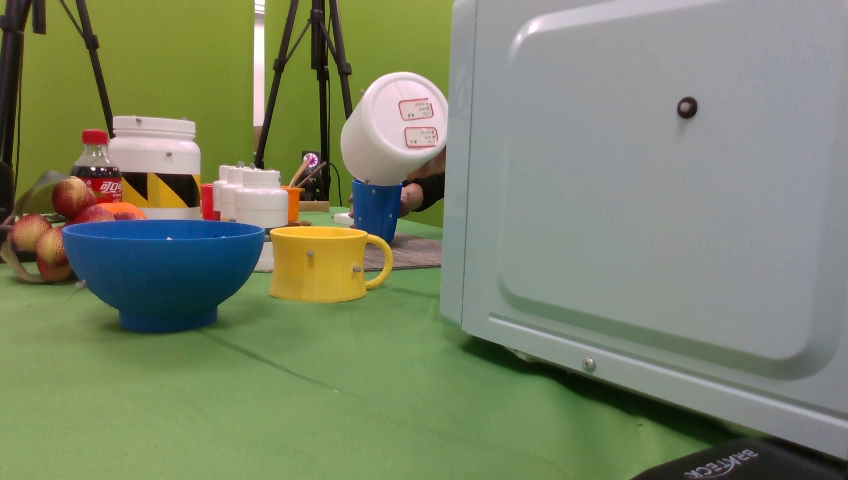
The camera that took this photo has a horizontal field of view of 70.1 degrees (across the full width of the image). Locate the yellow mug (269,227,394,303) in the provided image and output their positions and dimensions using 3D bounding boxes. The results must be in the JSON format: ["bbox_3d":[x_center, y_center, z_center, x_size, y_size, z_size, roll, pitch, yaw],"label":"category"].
[{"bbox_3d":[-0.094,0.023,0.629,0.131,0.064,0.099,0,6,-21],"label":"yellow mug"}]

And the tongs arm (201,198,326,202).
[{"bbox_3d":[-0.433,-0.090,1.508,0.390,0.028,0.028,-1,2,-29],"label":"tongs arm"}]

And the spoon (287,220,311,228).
[{"bbox_3d":[-0.232,-0.027,1.116,0.041,0.021,0.193,-22,6,4],"label":"spoon"}]

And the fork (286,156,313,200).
[{"bbox_3d":[-0.288,-0.117,1.319,0.028,0.019,0.207,-8,45,32],"label":"fork"}]

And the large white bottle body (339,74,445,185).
[{"bbox_3d":[-0.052,-0.155,0.901,0.131,0.130,0.184,0,-6,-21],"label":"large white bottle body"}]

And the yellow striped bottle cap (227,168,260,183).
[{"bbox_3d":[-0.243,-0.087,0.818,0.044,0.018,0.044,4,6,0],"label":"yellow striped bottle cap"}]

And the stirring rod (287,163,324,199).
[{"bbox_3d":[-0.278,-0.105,1.293,0.176,0.006,0.014,-46,25,-18],"label":"stirring rod"}]

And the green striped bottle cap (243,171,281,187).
[{"bbox_3d":[-0.198,-0.074,0.736,0.044,0.020,0.044,1,7,0],"label":"green striped bottle cap"}]

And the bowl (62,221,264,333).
[{"bbox_3d":[-0.208,0.029,0.496,0.151,0.077,0.151,2,7,0],"label":"bowl"}]

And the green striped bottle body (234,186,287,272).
[{"bbox_3d":[-0.200,-0.023,0.743,0.063,0.119,0.063,2,7,0],"label":"green striped bottle body"}]

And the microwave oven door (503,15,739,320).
[{"bbox_3d":[0.218,-0.065,0.600,0.358,0.243,0.039,-4,10,-41],"label":"microwave oven door"}]

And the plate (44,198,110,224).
[{"bbox_3d":[-0.617,-0.056,1.179,0.209,0.038,0.209,3,7,0],"label":"plate"}]

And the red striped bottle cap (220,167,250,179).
[{"bbox_3d":[-0.281,-0.100,0.901,0.044,0.017,0.044,-1,5,0],"label":"red striped bottle cap"}]

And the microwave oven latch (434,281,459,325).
[{"bbox_3d":[0.044,0.045,0.470,0.079,0.029,0.030,-2,8,-39],"label":"microwave oven latch"}]

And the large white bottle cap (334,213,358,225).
[{"bbox_3d":[-0.145,-0.048,1.355,0.115,0.018,0.115,2,7,0],"label":"large white bottle cap"}]

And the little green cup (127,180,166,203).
[{"bbox_3d":[-0.485,-0.086,1.061,0.061,0.038,0.061,1,7,0],"label":"little green cup"}]

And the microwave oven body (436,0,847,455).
[{"bbox_3d":[0.279,-0.040,0.465,0.444,0.260,0.324,-3,9,-41],"label":"microwave oven body"}]

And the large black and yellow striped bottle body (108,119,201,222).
[{"bbox_3d":[-0.412,-0.088,0.930,0.131,0.184,0.130,3,7,0],"label":"large black and yellow striped bottle body"}]

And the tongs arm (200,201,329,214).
[{"bbox_3d":[-0.378,-0.079,1.440,0.387,0.026,0.050,-4,8,-44],"label":"tongs arm"}]

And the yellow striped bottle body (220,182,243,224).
[{"bbox_3d":[-0.245,-0.036,0.825,0.063,0.120,0.063,3,8,0],"label":"yellow striped bottle body"}]

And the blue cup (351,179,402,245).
[{"bbox_3d":[-0.076,-0.048,1.011,0.093,0.100,0.092,-2,17,1],"label":"blue cup"}]

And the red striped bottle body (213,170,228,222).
[{"bbox_3d":[-0.283,-0.047,0.909,0.063,0.119,0.063,3,13,0],"label":"red striped bottle body"}]

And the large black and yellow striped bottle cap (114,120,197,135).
[{"bbox_3d":[-0.407,-0.171,0.920,0.115,0.019,0.115,2,9,0],"label":"large black and yellow striped bottle cap"}]
